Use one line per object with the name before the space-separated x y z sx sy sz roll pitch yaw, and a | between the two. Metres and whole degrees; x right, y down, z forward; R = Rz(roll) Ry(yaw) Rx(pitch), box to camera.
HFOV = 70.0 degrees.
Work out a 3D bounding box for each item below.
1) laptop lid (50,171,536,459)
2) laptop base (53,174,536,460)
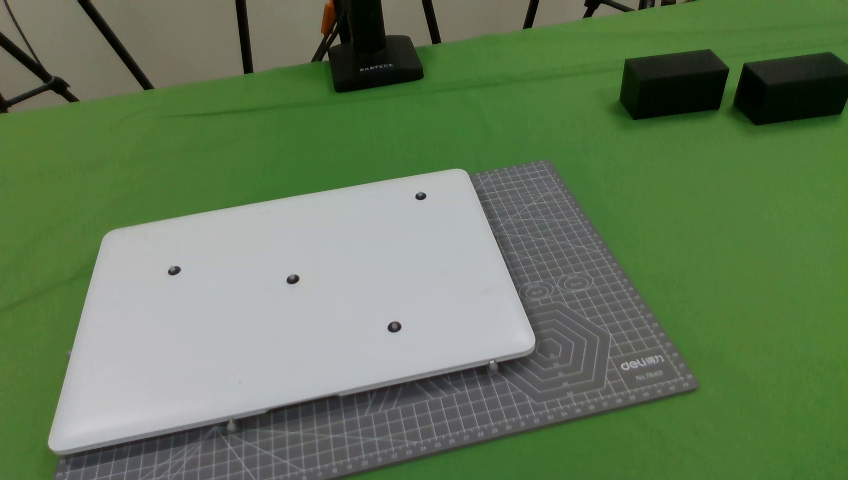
laptop lid | -0.108 0.040 0.509 0.357 0.013 0.239 -10 44 -4
laptop base | -0.107 0.047 0.519 0.355 0.023 0.233 -11 45 -6
